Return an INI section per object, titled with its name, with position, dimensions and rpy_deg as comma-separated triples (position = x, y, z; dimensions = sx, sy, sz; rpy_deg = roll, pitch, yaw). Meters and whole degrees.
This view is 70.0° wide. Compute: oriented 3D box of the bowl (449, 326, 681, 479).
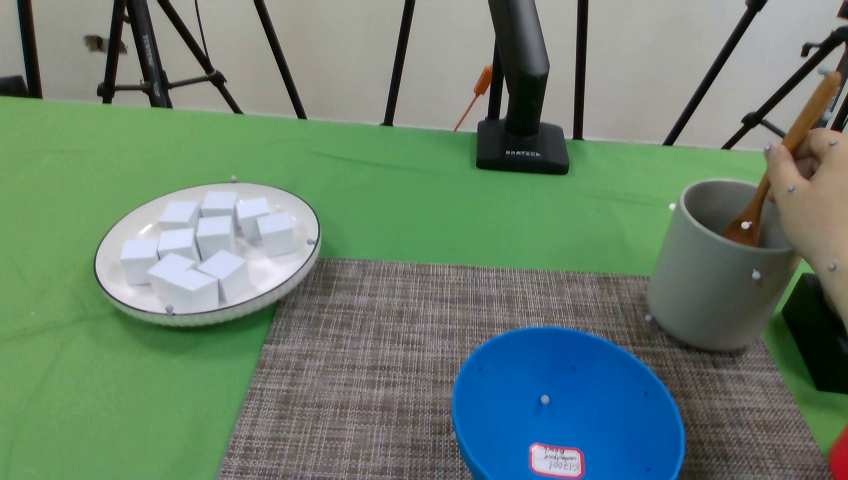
[bowl]
position = 0.089, 0.141, 0.419
dimensions = 0.151, 0.077, 0.150
rpy_deg = 2, 38, -1

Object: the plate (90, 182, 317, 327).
[plate]
position = -0.209, 0.013, 0.594
dimensions = 0.209, 0.038, 0.207
rpy_deg = 1, 38, -1

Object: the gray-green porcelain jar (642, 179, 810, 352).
[gray-green porcelain jar]
position = 0.257, 0.027, 0.536
dimensions = 0.106, 0.127, 0.105
rpy_deg = 2, 38, -1

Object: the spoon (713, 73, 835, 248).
[spoon]
position = 0.271, -0.043, 0.483
dimensions = 0.022, 0.195, 0.041
rpy_deg = -7, 46, -9

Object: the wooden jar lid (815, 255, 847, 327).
[wooden jar lid]
position = 0.396, 0.054, 0.524
dimensions = 0.108, 0.021, 0.107
rpy_deg = 2, 38, -1
